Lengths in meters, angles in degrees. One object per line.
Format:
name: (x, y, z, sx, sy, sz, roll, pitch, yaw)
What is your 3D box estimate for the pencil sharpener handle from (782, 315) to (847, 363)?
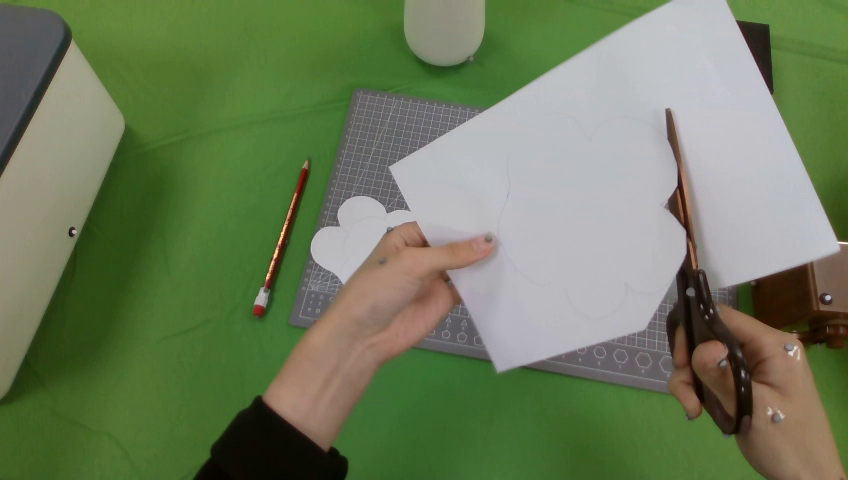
pencil sharpener handle: (0.354, 0.091, 0.548, 0.036, 0.068, 0.030, 10, 67, -11)

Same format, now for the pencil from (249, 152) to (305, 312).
pencil: (-0.155, -0.014, 0.655, 0.012, 0.012, 0.193, 10, 66, 4)

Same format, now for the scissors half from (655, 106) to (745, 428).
scissors half: (0.143, 0.014, 0.320, 0.013, 0.040, 0.175, -12, 87, -1)

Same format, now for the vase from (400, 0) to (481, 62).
vase: (0.018, -0.293, 0.669, 0.098, 0.201, 0.097, 0, 66, 1)

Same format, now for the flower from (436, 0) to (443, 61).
flower: (0.014, -0.338, 0.597, 0.044, 0.365, 0.038, 3, 49, 5)

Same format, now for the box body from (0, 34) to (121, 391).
box body: (-0.490, -0.043, 0.581, 0.254, 0.161, 0.361, 9, 68, 4)

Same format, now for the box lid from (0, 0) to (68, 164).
box lid: (-0.490, -0.075, 0.512, 0.263, 0.015, 0.369, 10, 67, 3)

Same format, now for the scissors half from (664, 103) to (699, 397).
scissors half: (0.144, 0.010, 0.342, 0.013, 0.040, 0.176, -11, 111, 4)

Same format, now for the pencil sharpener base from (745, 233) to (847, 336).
pencil sharpener base: (0.363, 0.050, 0.579, 0.061, 0.108, 0.076, 5, 68, 2)
